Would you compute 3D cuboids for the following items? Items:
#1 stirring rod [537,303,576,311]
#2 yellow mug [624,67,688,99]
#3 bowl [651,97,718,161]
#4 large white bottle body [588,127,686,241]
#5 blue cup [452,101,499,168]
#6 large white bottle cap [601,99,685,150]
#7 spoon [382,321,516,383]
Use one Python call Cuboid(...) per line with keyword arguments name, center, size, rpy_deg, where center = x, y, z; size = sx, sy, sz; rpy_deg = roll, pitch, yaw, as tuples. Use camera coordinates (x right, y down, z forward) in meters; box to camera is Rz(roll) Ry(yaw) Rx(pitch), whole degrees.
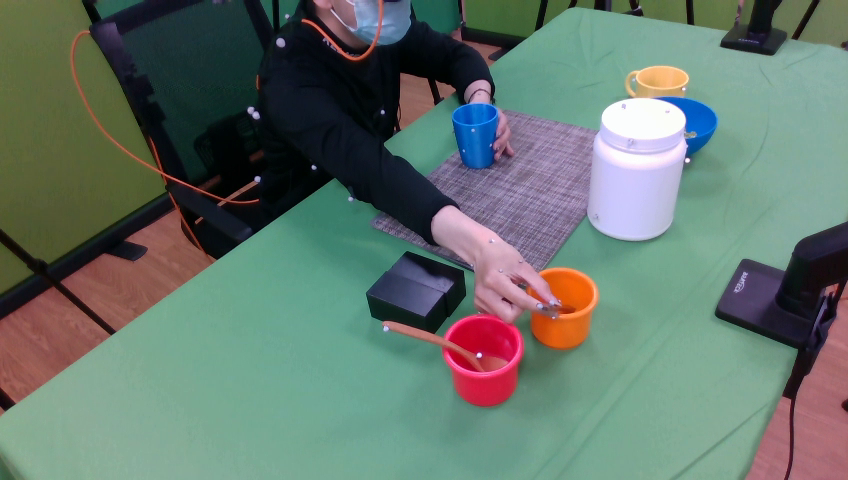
Cuboid(name="stirring rod", center=(0.169, 0.084, 0.759), size=(0.014, 0.006, 0.177), rpy_deg=(24, 4, 24))
Cuboid(name="yellow mug", center=(0.465, -0.305, 1.230), size=(0.100, 0.064, 0.129), rpy_deg=(-34, 46, -27))
Cuboid(name="bowl", center=(0.439, -0.186, 1.087), size=(0.151, 0.077, 0.150), rpy_deg=(-4, 41, 4))
Cuboid(name="large white bottle body", center=(0.324, -0.105, 0.926), size=(0.130, 0.185, 0.130), rpy_deg=(-5, 41, 4))
Cuboid(name="blue cup", center=(0.099, -0.190, 1.118), size=(0.092, 0.101, 0.092), rpy_deg=(-5, 41, 5))
Cuboid(name="large white bottle cap", center=(0.315, -0.168, 0.870), size=(0.115, 0.018, 0.114), rpy_deg=(-4, 41, 4))
Cuboid(name="spoon", center=(0.033, 0.131, 0.726), size=(0.195, 0.021, 0.041), rpy_deg=(29, 30, -26))
